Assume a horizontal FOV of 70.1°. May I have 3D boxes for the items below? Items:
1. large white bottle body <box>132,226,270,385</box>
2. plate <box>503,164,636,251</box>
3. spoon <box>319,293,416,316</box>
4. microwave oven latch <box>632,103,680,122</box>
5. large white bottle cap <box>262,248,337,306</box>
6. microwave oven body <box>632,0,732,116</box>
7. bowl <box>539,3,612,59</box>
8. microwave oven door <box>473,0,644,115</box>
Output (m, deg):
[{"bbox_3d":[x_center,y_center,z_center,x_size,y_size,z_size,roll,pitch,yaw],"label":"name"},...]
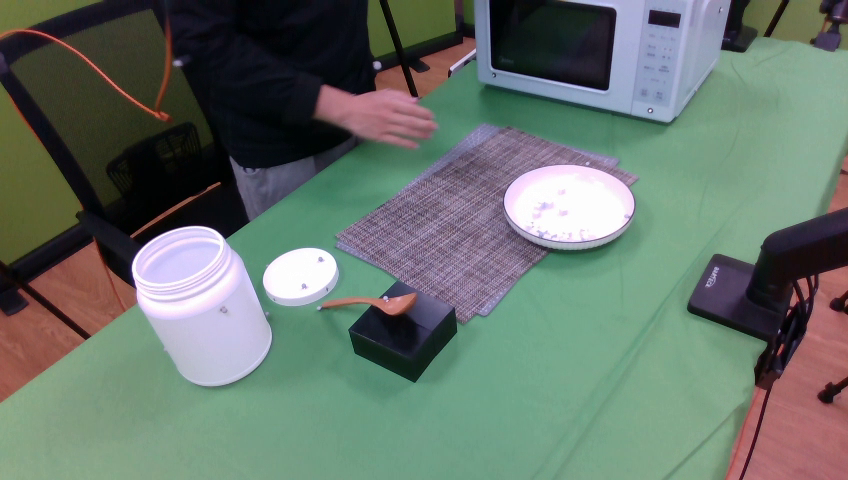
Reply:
[{"bbox_3d":[-0.286,0.085,0.783,0.130,0.185,0.130,-4,41,4],"label":"large white bottle body"},{"bbox_3d":[0.232,-0.050,0.976,0.209,0.038,0.208,-3,41,3],"label":"plate"},{"bbox_3d":[-0.082,0.086,0.826,0.192,0.022,0.041,-3,36,41],"label":"spoon"},{"bbox_3d":[0.443,-0.249,1.158,0.078,0.029,0.030,20,48,29],"label":"microwave oven latch"},{"bbox_3d":[-0.193,0.056,0.934,0.115,0.018,0.114,-4,41,4],"label":"large white bottle cap"},{"bbox_3d":[0.377,-0.463,1.267,0.438,0.261,0.327,21,49,30],"label":"microwave oven body"},{"bbox_3d":[0.323,-0.441,1.298,0.151,0.077,0.150,-4,42,4],"label":"bowl"},{"bbox_3d":[0.257,-0.396,1.199,0.353,0.245,0.039,21,48,29],"label":"microwave oven door"}]
